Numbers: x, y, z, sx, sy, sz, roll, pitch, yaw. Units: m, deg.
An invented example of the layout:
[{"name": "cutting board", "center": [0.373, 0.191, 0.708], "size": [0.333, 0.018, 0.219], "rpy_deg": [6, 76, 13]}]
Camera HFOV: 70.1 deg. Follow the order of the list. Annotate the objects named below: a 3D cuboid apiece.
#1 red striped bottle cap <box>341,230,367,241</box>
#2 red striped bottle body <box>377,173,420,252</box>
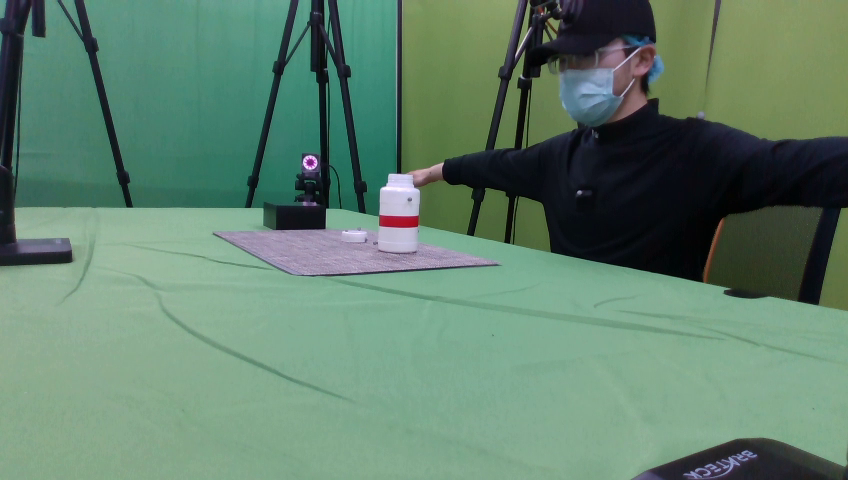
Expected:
[{"name": "red striped bottle cap", "center": [-0.120, -0.008, 1.034], "size": [0.044, 0.017, 0.044], "rpy_deg": [-2, 2, 0]}, {"name": "red striped bottle body", "center": [-0.039, -0.044, 0.936], "size": [0.063, 0.119, 0.063], "rpy_deg": [2, 7, 0]}]
